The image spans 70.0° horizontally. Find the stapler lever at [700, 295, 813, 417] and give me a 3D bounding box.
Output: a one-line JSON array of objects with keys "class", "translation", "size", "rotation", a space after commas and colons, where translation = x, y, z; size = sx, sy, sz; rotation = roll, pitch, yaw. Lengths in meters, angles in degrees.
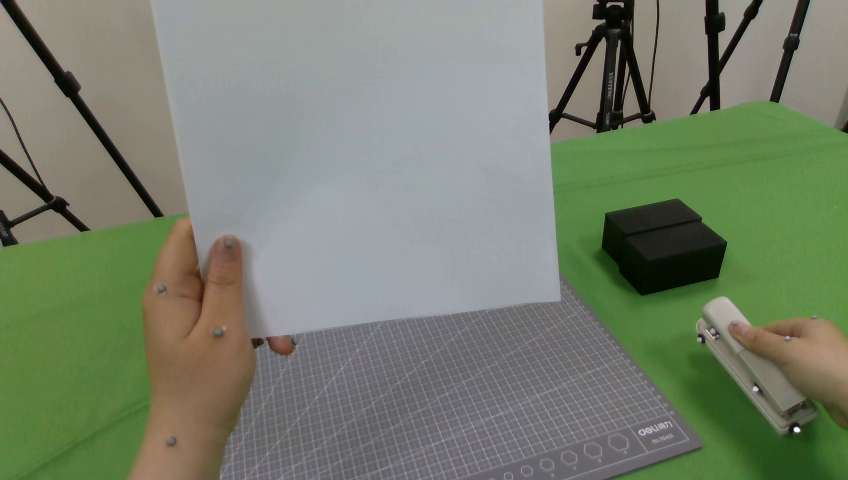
[{"class": "stapler lever", "translation": [0.291, 0.098, 0.538], "size": [0.027, 0.040, 0.116], "rotation": [-35, 46, 9]}]

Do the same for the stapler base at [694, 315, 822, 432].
[{"class": "stapler base", "translation": [0.300, 0.110, 0.556], "size": [0.041, 0.025, 0.129], "rotation": [-35, 49, 9]}]
